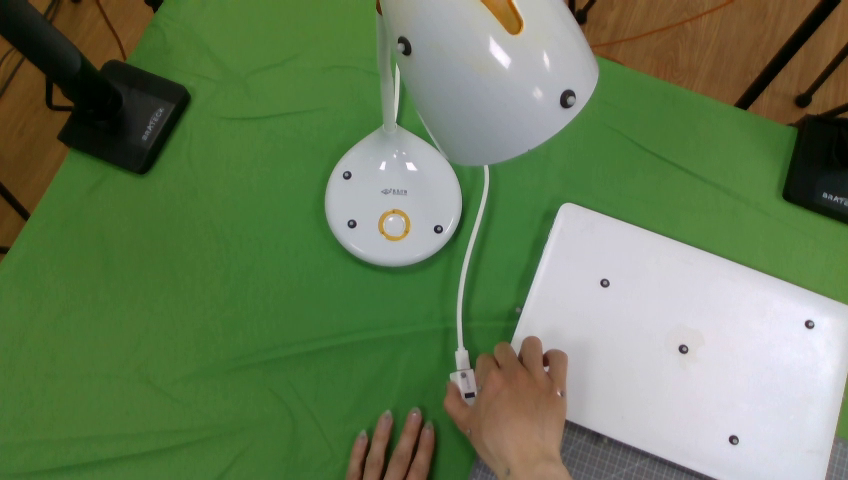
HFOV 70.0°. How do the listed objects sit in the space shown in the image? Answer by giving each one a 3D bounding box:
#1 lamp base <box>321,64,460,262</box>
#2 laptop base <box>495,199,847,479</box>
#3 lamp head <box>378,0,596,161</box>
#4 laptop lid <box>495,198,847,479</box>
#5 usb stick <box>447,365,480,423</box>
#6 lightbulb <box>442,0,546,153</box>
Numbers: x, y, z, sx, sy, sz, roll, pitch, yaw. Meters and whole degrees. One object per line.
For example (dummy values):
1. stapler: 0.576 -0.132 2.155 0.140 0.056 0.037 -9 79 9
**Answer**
1. lamp base: -0.039 -0.085 0.632 0.161 0.181 0.178 -8 72 -4
2. laptop base: 0.278 0.116 0.672 0.354 0.023 0.234 21 78 4
3. lamp head: 0.025 -0.126 0.353 0.112 0.111 0.124 -48 123 -13
4. laptop lid: 0.277 0.115 0.660 0.356 0.013 0.241 22 76 5
5. usb stick: 0.043 0.164 0.646 0.021 0.027 0.059 -6 79 -24
6. lightbulb: 0.038 -0.101 0.365 0.059 0.109 0.059 -16 41 15
